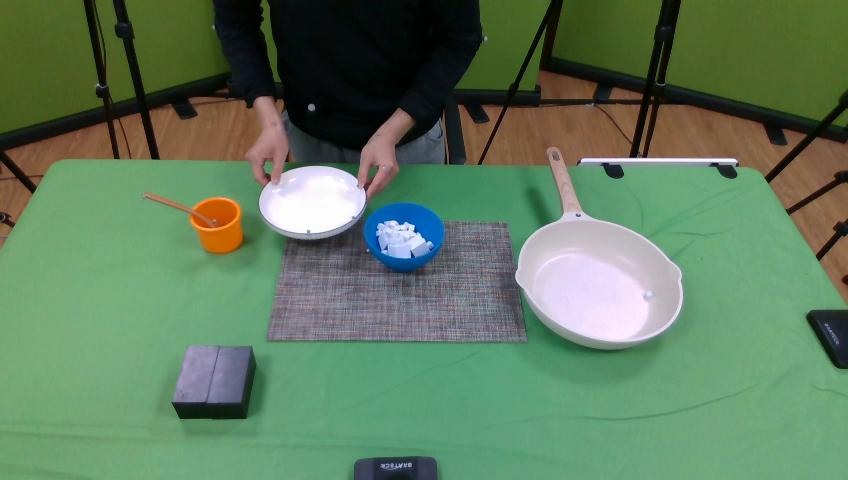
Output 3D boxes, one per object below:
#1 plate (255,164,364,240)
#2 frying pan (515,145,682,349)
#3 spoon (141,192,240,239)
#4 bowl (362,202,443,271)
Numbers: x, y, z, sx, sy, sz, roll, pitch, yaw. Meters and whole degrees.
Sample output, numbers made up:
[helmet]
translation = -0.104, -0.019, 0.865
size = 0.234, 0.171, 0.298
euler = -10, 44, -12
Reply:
[plate]
translation = -0.222, -0.070, 1.188
size = 0.208, 0.039, 0.206
euler = 2, 45, -2
[frying pan]
translation = 0.303, -0.004, 1.168
size = 0.307, 0.103, 0.484
euler = -2, 55, -7
[spoon]
translation = -0.428, -0.048, 1.123
size = 0.021, 0.195, 0.041
euler = -38, 44, 20
[bowl]
translation = -0.041, 0.006, 1.145
size = 0.151, 0.077, 0.150
euler = 2, 46, -2
